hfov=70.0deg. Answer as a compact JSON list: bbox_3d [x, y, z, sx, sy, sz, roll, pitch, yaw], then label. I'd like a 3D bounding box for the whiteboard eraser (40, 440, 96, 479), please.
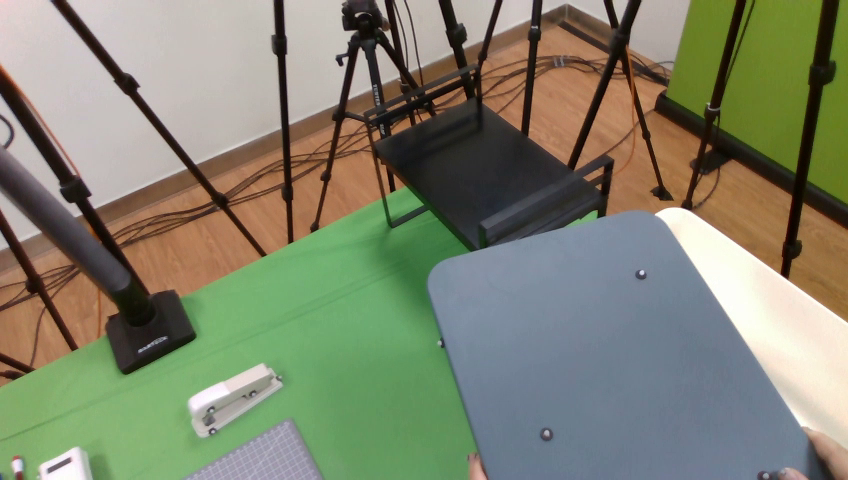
[{"bbox_3d":[-0.456,0.320,0.786,0.055,0.042,0.111,-29,51,-17],"label":"whiteboard eraser"}]

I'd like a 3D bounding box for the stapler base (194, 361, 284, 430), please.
[{"bbox_3d":[-0.268,0.218,0.868,0.130,0.024,0.041,-31,54,-23],"label":"stapler base"}]

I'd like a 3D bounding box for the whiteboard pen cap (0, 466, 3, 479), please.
[{"bbox_3d":[-0.577,0.321,0.815,0.018,0.018,0.033,-29,49,-18],"label":"whiteboard pen cap"}]

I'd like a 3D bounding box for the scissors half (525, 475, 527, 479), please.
[{"bbox_3d":[0.121,0.350,0.662,0.013,0.040,0.174,-4,66,1],"label":"scissors half"}]

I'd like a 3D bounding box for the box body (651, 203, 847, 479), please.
[{"bbox_3d":[0.345,0.153,0.754,0.254,0.162,0.360,-28,50,-18],"label":"box body"}]

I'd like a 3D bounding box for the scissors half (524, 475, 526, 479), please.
[{"bbox_3d":[0.119,0.339,0.645,0.013,0.040,0.173,-7,50,6],"label":"scissors half"}]

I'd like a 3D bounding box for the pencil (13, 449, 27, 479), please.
[{"bbox_3d":[-0.513,0.348,0.788,0.012,0.012,0.192,-30,51,-19],"label":"pencil"}]

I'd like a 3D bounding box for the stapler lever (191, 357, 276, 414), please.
[{"bbox_3d":[-0.269,0.201,0.851,0.118,0.040,0.026,-32,54,-22],"label":"stapler lever"}]

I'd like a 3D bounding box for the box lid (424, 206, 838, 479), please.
[{"bbox_3d":[0.167,0.130,0.534,0.263,0.015,0.367,-15,54,-7],"label":"box lid"}]
